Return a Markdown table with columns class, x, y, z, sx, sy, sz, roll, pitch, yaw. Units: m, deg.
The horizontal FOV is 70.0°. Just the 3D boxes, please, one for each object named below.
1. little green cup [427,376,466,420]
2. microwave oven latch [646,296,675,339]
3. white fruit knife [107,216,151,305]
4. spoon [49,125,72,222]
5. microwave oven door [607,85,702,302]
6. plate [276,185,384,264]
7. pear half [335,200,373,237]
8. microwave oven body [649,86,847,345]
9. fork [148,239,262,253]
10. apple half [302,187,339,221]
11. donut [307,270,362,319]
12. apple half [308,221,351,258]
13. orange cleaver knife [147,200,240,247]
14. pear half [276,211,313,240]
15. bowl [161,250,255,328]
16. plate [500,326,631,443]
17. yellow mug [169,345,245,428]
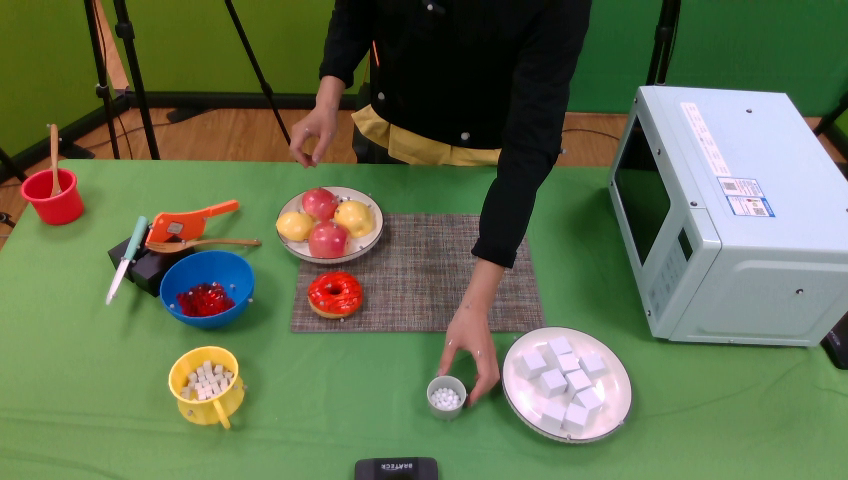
| class | x | y | z | sx | sy | sz | roll | pitch | yaw |
| --- | --- | --- | --- | --- | --- | --- | --- | --- | --- |
| little green cup | 0.034 | 0.249 | 0.949 | 0.061 | 0.039 | 0.061 | 3 | 47 | -2 |
| microwave oven latch | 0.412 | 0.134 | 1.061 | 0.030 | 0.029 | 0.078 | 4 | 45 | 1 |
| white fruit knife | -0.518 | 0.032 | 1.066 | 0.027 | 0.016 | 0.206 | -19 | 45 | 19 |
| spoon | -0.717 | -0.131 | 1.189 | 0.042 | 0.021 | 0.193 | -3 | 90 | -7 |
| microwave oven door | 0.423 | -0.094 | 1.140 | 0.039 | 0.245 | 0.353 | 1 | 46 | -1 |
| plate | -0.184 | -0.027 | 1.195 | 0.209 | 0.038 | 0.208 | 2 | 46 | -2 |
| pear half | -0.146 | -0.059 | 1.210 | 0.076 | 0.056 | 0.109 | -17 | 43 | -24 |
| microwave oven body | 0.568 | -0.053 | 1.118 | 0.326 | 0.261 | 0.439 | 2 | 45 | -1 |
| fork | -0.398 | 0.008 | 1.117 | 0.208 | 0.019 | 0.028 | -5 | 35 | -37 |
| apple half | -0.204 | -0.077 | 1.216 | 0.081 | 0.033 | 0.081 | 18 | 47 | -20 |
| donut | -0.157 | 0.097 | 1.073 | 0.099 | 0.048 | 0.098 | 4 | 46 | -4 |
| apple half | -0.180 | -0.005 | 1.150 | 0.074 | 0.053 | 0.080 | 14 | 43 | 9 |
| orange cleaver knife | -0.435 | -0.033 | 1.157 | 0.012 | 0.077 | 0.211 | 31 | 26 | 18 |
| pear half | -0.244 | -0.035 | 1.179 | 0.070 | 0.031 | 0.088 | 42 | 39 | 2 |
| bowl | -0.362 | 0.098 | 1.040 | 0.151 | 0.077 | 0.150 | 2 | 45 | -2 |
| plate | 0.224 | 0.233 | 0.978 | 0.208 | 0.039 | 0.206 | 2 | 46 | -2 |
| yellow mug | -0.322 | 0.230 | 0.922 | 0.100 | 0.064 | 0.130 | -24 | 53 | -25 |
